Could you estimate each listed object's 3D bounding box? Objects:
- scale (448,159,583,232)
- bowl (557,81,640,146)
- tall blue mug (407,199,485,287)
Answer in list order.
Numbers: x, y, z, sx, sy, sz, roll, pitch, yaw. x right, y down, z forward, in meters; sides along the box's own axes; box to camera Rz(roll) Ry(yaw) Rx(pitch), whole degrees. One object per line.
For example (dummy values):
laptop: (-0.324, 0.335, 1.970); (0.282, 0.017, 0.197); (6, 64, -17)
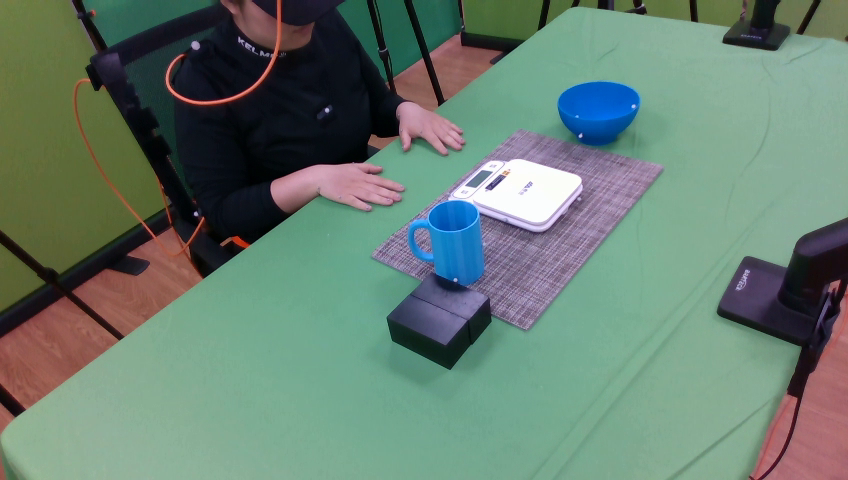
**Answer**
scale: (0.156, -0.085, 1.040); (0.199, 0.032, 0.149); (22, 49, 32)
bowl: (0.330, -0.233, 1.152); (0.151, 0.077, 0.150); (-5, 40, 5)
tall blue mug: (0.034, 0.008, 0.892); (0.107, 0.108, 0.077); (-13, 41, -5)
